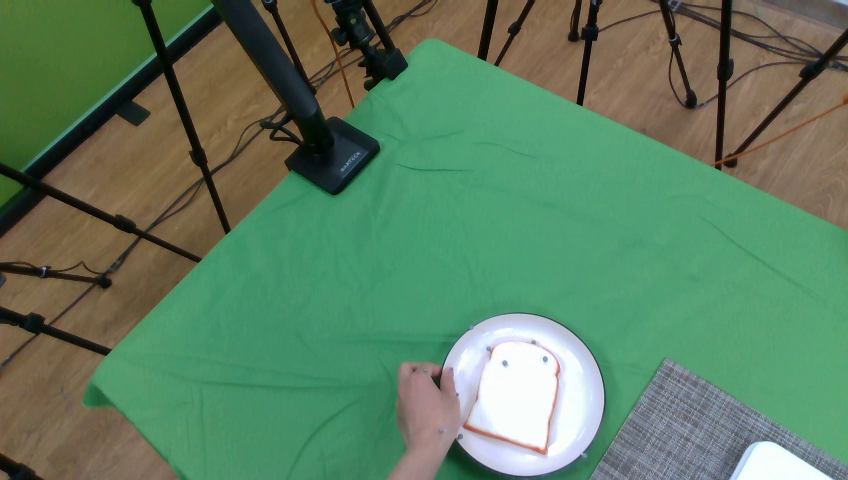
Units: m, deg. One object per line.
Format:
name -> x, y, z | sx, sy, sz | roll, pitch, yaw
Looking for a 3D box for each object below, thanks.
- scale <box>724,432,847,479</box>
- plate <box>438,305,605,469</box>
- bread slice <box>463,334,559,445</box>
scale -> 0.388, 0.328, 0.660 | 0.147, 0.032, 0.200 | 32, 71, 22
plate -> 0.122, 0.185, 0.775 | 0.209, 0.038, 0.207 | -3, 62, 7
bread slice -> 0.117, 0.183, 0.777 | 0.104, 0.019, 0.131 | 13, 62, 14
